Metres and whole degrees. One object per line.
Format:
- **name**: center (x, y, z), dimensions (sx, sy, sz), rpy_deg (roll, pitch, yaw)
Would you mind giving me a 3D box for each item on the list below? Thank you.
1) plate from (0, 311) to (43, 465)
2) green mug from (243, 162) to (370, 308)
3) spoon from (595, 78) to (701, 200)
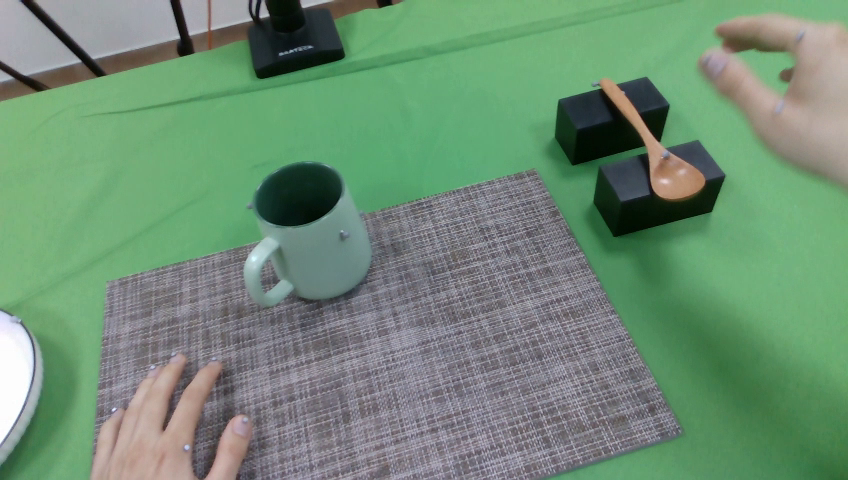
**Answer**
- **plate**: center (-0.422, 0.152, 0.508), dimensions (0.209, 0.038, 0.207), rpy_deg (-3, 51, 5)
- **green mug**: center (-0.110, 0.006, 0.537), dimensions (0.092, 0.106, 0.125), rpy_deg (24, 58, 23)
- **spoon**: center (0.205, -0.104, 0.577), dimensions (0.041, 0.022, 0.191), rpy_deg (-22, 50, 9)
